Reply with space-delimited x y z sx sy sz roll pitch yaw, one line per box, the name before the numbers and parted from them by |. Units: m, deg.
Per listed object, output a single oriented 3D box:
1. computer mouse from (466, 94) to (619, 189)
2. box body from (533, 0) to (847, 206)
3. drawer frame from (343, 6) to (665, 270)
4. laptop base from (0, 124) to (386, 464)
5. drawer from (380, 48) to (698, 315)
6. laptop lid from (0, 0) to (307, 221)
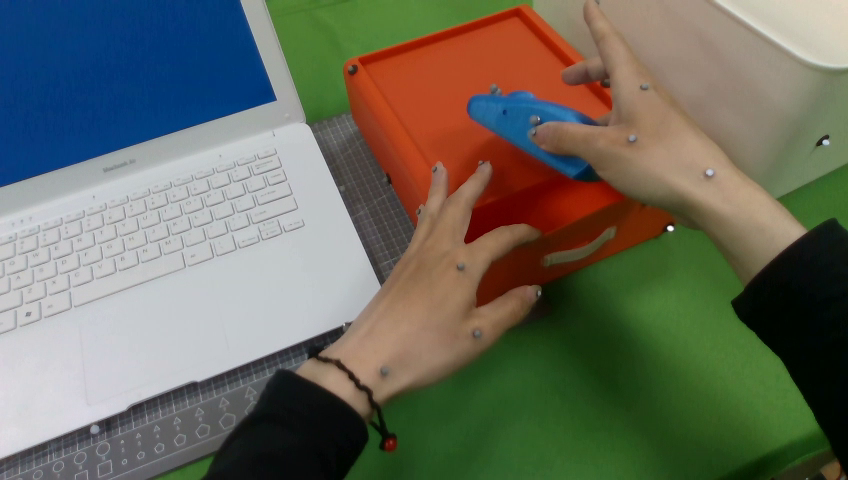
computer mouse | 0.088 -0.078 0.441 0.116 0.041 0.063 35 23 27
box body | 0.293 -0.228 0.568 0.254 0.162 0.360 -25 55 -13
drawer frame | 0.061 -0.097 0.539 0.202 0.083 0.211 -23 54 -13
laptop base | -0.232 0.033 0.510 0.355 0.023 0.233 -21 58 -10
drawer | 0.078 -0.065 0.513 0.195 0.074 0.209 -22 54 -11
laptop lid | -0.306 -0.154 0.527 0.357 0.243 0.013 -22 25 -10
